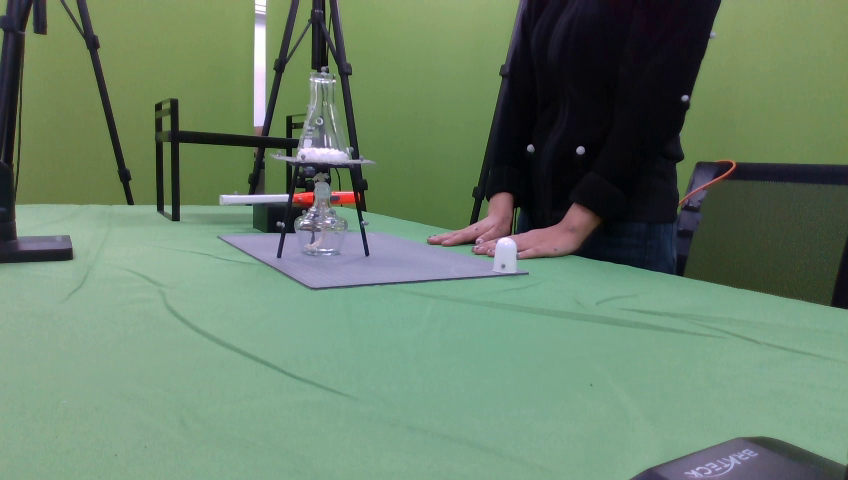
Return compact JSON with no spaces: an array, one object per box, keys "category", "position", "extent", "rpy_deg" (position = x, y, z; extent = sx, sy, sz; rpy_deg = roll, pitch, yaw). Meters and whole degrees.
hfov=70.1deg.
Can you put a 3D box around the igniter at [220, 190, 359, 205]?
[{"category":"igniter","position":[-0.246,-0.081,1.158],"extent":[0.278,0.025,0.057],"rpy_deg":[-5,7,-33]}]

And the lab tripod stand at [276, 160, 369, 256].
[{"category":"lab tripod stand","position":[-0.149,-0.046,0.861],"extent":[0.148,0.131,0.148],"rpy_deg":[3,9,0]}]

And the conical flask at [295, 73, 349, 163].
[{"category":"conical flask","position":[-0.143,-0.170,0.851],"extent":[0.075,0.122,0.075],"rpy_deg":[2,9,0]}]

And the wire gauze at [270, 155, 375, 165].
[{"category":"wire gauze","position":[-0.146,-0.112,0.860],"extent":[0.122,0.011,0.124],"rpy_deg":[0,6,-29]}]

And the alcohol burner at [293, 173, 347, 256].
[{"category":"alcohol burner","position":[-0.148,-0.037,0.868],"extent":[0.078,0.119,0.078],"rpy_deg":[4,8,0]}]

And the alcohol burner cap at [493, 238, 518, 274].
[{"category":"alcohol burner cap","position":[0.107,0.021,0.785],"extent":[0.034,0.048,0.034],"rpy_deg":[1,8,0]}]
